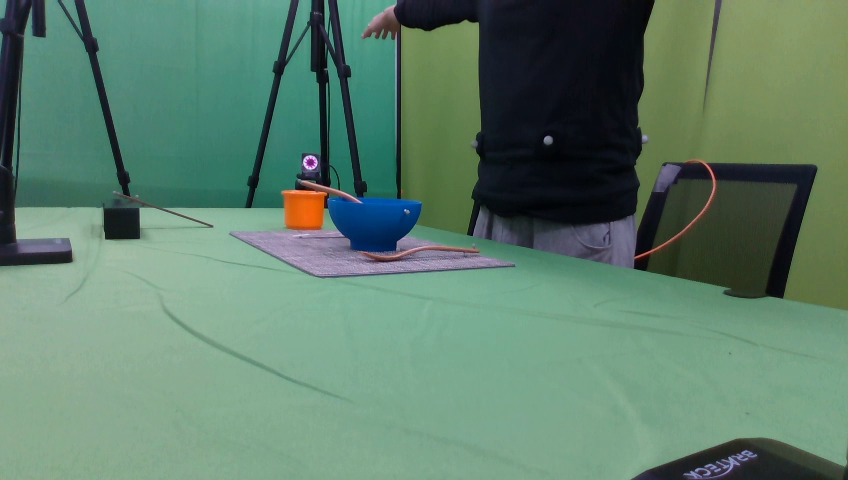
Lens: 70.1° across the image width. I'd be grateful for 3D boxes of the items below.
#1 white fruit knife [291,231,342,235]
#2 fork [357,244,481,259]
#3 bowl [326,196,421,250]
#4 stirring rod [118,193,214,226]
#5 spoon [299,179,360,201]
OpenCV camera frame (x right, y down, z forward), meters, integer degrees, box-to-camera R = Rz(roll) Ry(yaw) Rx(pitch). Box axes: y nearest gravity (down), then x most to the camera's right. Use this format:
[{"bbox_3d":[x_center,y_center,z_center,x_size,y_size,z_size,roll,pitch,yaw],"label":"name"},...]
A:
[{"bbox_3d":[-0.138,-0.015,1.092,0.208,0.016,0.027,-3,-2,-29],"label":"white fruit knife"},{"bbox_3d":[-0.001,0.016,0.877,0.208,0.018,0.028,-5,0,-33],"label":"fork"},{"bbox_3d":[-0.080,-0.027,0.957,0.151,0.077,0.151,2,7,0],"label":"bowl"},{"bbox_3d":[-0.484,-0.056,1.142,0.177,0.006,0.014,21,-6,-28],"label":"stirring rod"},{"bbox_3d":[-0.123,-0.068,0.993,0.193,0.021,0.042,25,9,17],"label":"spoon"}]
